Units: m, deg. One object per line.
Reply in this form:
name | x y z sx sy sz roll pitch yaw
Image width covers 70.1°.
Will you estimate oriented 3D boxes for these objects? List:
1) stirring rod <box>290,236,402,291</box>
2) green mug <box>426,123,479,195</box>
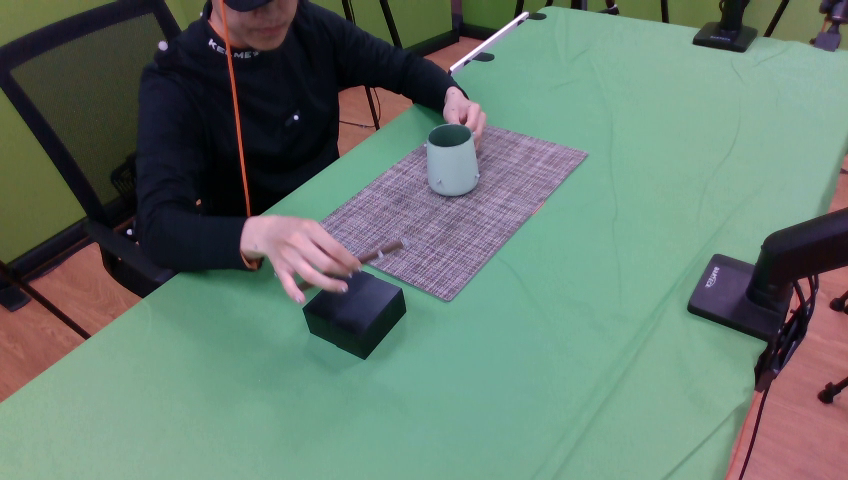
stirring rod | -0.104 0.032 0.791 0.175 0.014 0.006 -25 49 20
green mug | 0.053 -0.151 1.066 0.092 0.105 0.125 4 42 15
